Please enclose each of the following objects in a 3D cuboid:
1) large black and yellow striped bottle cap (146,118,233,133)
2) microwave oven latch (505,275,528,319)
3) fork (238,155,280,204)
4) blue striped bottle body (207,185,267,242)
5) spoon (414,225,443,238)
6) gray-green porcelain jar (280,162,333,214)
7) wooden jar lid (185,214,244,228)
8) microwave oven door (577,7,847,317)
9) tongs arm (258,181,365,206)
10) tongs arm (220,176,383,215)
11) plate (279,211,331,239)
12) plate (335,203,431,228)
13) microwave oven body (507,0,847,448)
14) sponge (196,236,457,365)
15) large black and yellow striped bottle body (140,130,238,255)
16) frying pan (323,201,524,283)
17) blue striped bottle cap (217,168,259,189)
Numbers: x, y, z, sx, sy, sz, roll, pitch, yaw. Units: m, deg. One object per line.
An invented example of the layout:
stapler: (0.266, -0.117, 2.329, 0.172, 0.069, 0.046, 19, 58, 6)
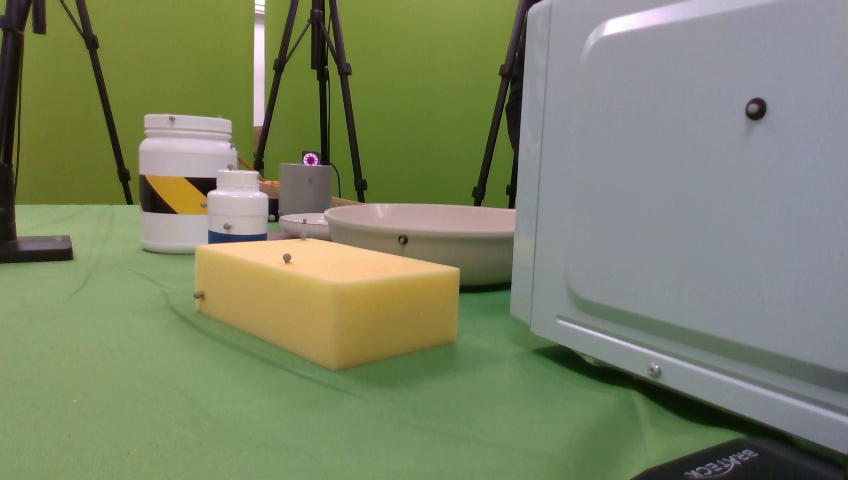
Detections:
large black and yellow striped bottle cap: (-0.333, -0.163, 0.861, 0.115, 0.019, 0.115, 1, 9, 0)
microwave oven latch: (0.100, 0.042, 0.472, 0.079, 0.029, 0.030, -2, 8, -30)
fork: (-0.396, -0.143, 1.487, 0.028, 0.018, 0.208, 19, -27, 44)
blue striped bottle body: (-0.204, -0.016, 0.663, 0.063, 0.120, 0.063, 2, 7, 0)
spoon: (0.016, -0.020, 1.113, 0.041, 0.021, 0.194, -15, 3, 12)
gray-green porcelain jar: (-0.238, -0.092, 1.221, 0.106, 0.126, 0.106, 2, 7, 0)
wooden jar lid: (-0.404, -0.037, 1.169, 0.108, 0.020, 0.108, 3, 7, 0)
microwave oven door: (0.294, -0.067, 0.572, 0.358, 0.243, 0.039, -3, 10, -31)
tongs arm: (-0.241, -0.095, 1.373, 0.387, 0.026, 0.050, 9, -1, -37)
tongs arm: (-0.285, -0.103, 1.445, 0.389, 0.027, 0.028, 9, -4, -23)
plate: (-0.139, -0.022, 1.021, 0.209, 0.038, 0.209, 2, 8, 0)
plate: (-0.089, -0.054, 1.309, 0.208, 0.039, 0.207, 2, 8, 0)
microwave oven body: (0.331, -0.042, 0.425, 0.444, 0.260, 0.324, -2, 8, -31)
sponge: (-0.087, 0.039, 0.500, 0.206, 0.061, 0.119, 8, 9, 44)
large black and yellow striped bottle body: (-0.336, -0.078, 0.871, 0.131, 0.184, 0.130, 2, 8, 0)
frying pan: (0.103, -0.028, 0.817, 0.490, 0.102, 0.305, -15, 18, -35)
blue striped bottle cap: (-0.202, -0.067, 0.657, 0.044, 0.020, 0.044, 0, 10, 0)
